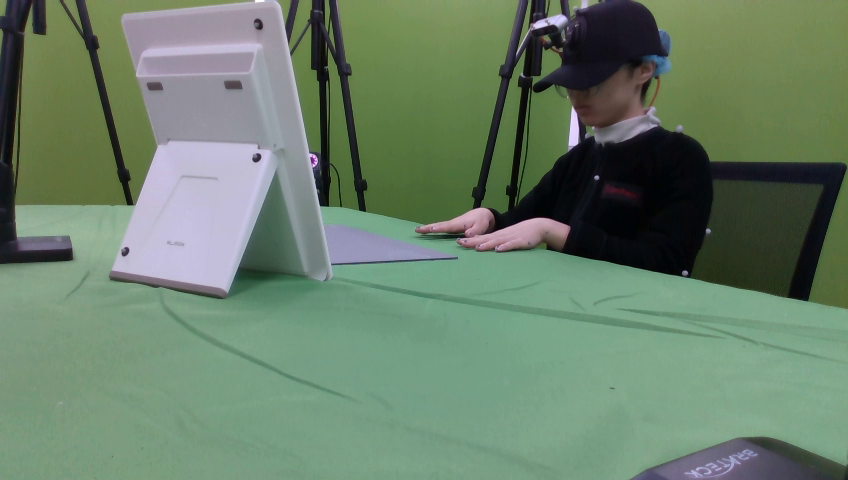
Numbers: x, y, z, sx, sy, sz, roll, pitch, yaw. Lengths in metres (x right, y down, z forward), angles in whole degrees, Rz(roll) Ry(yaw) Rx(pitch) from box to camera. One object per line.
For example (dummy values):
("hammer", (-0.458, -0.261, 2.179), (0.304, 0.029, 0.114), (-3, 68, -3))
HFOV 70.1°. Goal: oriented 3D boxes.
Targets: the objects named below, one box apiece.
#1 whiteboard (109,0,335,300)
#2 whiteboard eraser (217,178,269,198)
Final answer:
("whiteboard", (-0.247, -0.072, 0.624), (0.216, 0.305, 0.144), (6, 28, 26))
("whiteboard eraser", (-0.389, -0.113, 1.303), (0.055, 0.042, 0.113), (4, 7, 20))
